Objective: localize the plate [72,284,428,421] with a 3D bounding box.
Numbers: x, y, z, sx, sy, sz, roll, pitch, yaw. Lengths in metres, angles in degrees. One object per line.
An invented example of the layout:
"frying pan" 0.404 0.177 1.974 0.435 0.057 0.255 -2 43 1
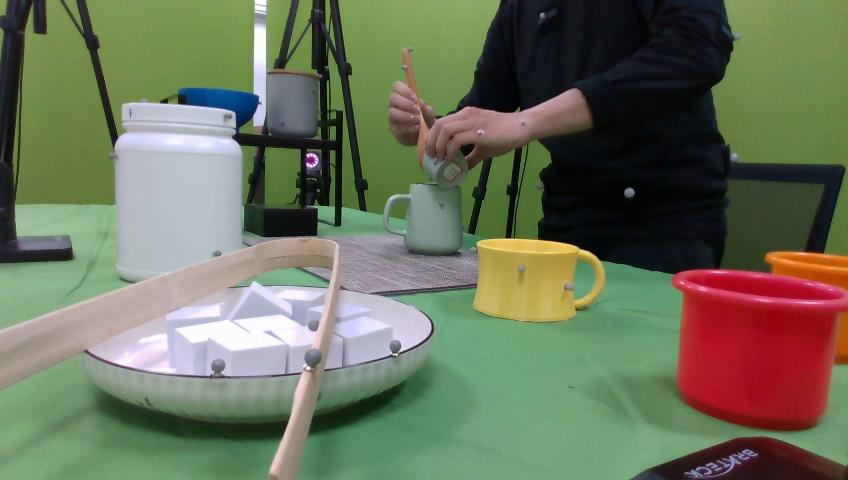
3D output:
"plate" -0.102 0.066 0.380 0.208 0.039 0.207 3 7 0

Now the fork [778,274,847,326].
"fork" 0.332 0.018 0.443 0.028 0.018 0.207 -2 -35 -16

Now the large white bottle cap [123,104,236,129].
"large white bottle cap" -0.266 -0.134 0.663 0.115 0.018 0.115 3 7 0

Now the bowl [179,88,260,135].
"bowl" -0.400 -0.248 1.188 0.151 0.077 0.151 2 6 0

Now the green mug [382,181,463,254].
"green mug" -0.001 -0.036 0.921 0.126 0.105 0.092 0 8 -16

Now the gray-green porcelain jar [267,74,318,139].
"gray-green porcelain jar" -0.277 -0.279 1.280 0.106 0.126 0.106 2 7 0

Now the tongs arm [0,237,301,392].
"tongs arm" -0.158 0.038 0.346 0.028 0.028 0.388 -3 8 11

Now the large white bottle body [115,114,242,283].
"large white bottle body" -0.270 -0.051 0.673 0.131 0.184 0.130 2 8 0

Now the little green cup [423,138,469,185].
"little green cup" 0.034 -0.110 0.866 0.062 0.061 0.038 -2 40 -28

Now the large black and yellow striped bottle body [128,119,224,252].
"large black and yellow striped bottle body" -0.361 -0.081 0.887 0.131 0.184 0.130 2 8 0

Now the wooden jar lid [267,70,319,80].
"wooden jar lid" -0.275 -0.339 1.271 0.108 0.020 0.108 5 6 0

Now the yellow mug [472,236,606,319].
"yellow mug" 0.114 0.034 0.590 0.131 0.064 0.100 3 6 -7

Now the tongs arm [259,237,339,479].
"tongs arm" -0.074 0.040 0.345 0.051 0.026 0.384 -1 9 -3

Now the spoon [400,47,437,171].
"spoon" -0.011 -0.197 0.912 0.041 0.193 0.021 -15 -7 4

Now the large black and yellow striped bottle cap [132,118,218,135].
"large black and yellow striped bottle cap" -0.359 -0.164 0.875 0.115 0.019 0.115 2 6 0

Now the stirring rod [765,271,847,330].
"stirring rod" 0.352 0.020 0.481 0.176 0.006 0.014 -40 -8 17
